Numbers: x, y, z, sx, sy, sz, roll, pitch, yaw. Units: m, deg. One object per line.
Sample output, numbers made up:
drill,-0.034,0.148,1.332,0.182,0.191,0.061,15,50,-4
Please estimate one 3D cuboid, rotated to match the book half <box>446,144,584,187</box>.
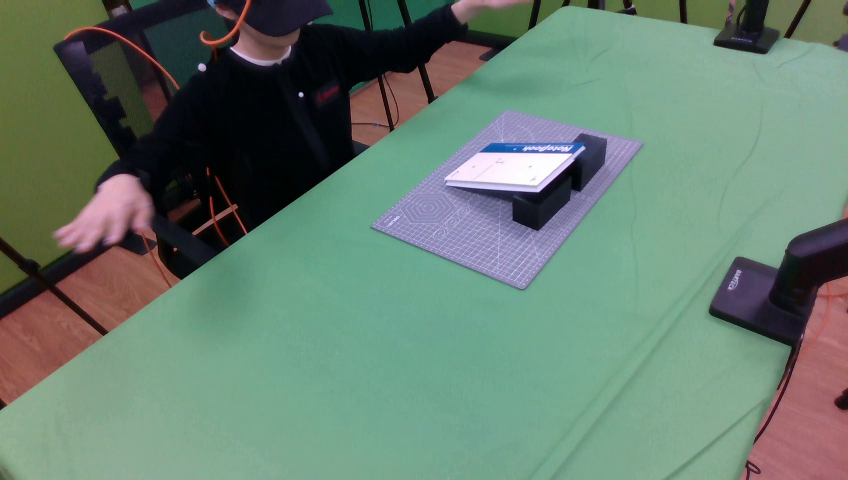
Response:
book half,0.154,-0.134,1.056,0.208,0.007,0.143,10,40,46
